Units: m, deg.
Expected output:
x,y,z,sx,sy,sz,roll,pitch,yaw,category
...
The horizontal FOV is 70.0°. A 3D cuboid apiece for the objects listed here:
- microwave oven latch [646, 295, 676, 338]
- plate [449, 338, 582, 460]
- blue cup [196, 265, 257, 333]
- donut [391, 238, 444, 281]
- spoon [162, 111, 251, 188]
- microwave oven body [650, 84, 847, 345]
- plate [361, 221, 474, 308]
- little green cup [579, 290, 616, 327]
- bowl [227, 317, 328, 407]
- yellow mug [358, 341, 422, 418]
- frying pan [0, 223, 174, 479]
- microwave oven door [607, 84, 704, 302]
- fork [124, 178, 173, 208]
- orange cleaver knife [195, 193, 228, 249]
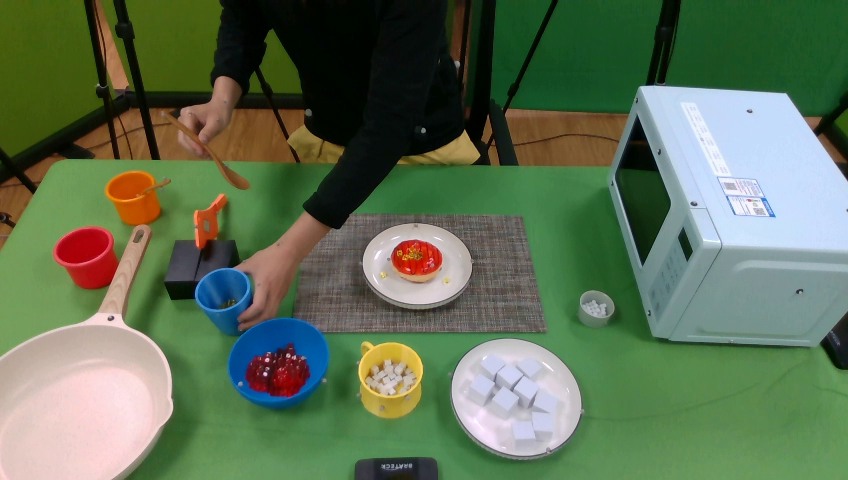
x,y,z,sx,sy,sz,roll,pitch,yaw,category
0.413,0.133,1.060,0.030,0.029,0.078,4,46,1,microwave oven latch
0.141,0.251,0.955,0.208,0.039,0.206,2,46,-2,plate
-0.321,0.107,1.012,0.092,0.101,0.092,-1,52,1,blue cup
-0.012,0.035,1.128,0.099,0.048,0.098,2,42,-2,donut
-0.373,-0.155,1.053,0.021,0.195,0.041,-30,38,13,spoon
0.569,-0.054,1.115,0.326,0.261,0.439,2,46,-1,microwave oven body
-0.011,0.049,1.130,0.209,0.038,0.208,2,46,-2,plate
0.308,0.124,1.086,0.061,0.039,0.061,1,45,-1,little green cup
-0.222,0.203,0.947,0.151,0.077,0.150,2,46,-2,bowl
-0.063,0.210,0.961,0.100,0.064,0.130,-29,54,-28,yellow mug
-0.505,0.169,0.940,0.307,0.103,0.485,5,54,-1,frying pan
0.423,-0.096,1.137,0.039,0.245,0.353,2,46,-1,microwave oven door
-0.525,-0.089,1.153,0.207,0.019,0.028,-18,27,45,fork
-0.406,-0.041,1.163,0.012,0.077,0.210,0,17,-4,orange cleaver knife
